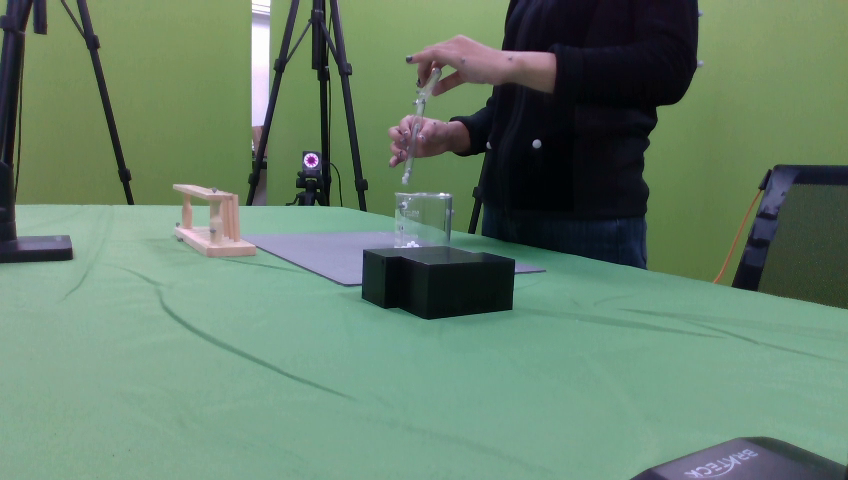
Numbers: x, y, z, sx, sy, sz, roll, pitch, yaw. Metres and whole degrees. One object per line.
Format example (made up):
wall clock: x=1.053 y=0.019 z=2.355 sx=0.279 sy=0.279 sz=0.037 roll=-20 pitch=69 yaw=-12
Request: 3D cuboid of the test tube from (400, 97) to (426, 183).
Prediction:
test tube: x=-0.019 y=-0.164 z=1.007 sx=0.017 sy=0.150 sz=0.017 roll=11 pitch=25 yaw=-5

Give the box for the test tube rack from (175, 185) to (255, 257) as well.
test tube rack: x=-0.324 y=-0.035 z=0.922 sx=0.067 sy=0.085 sz=0.241 roll=-2 pitch=9 yaw=-32

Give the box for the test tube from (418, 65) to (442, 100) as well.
test tube: x=0.008 y=-0.233 z=0.902 sx=0.017 sy=0.017 sz=0.150 roll=1 pitch=-1 yaw=-8

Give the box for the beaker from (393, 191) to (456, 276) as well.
beaker: x=-0.003 y=-0.010 z=0.749 sx=0.074 sy=0.100 sz=0.083 roll=-3 pitch=8 yaw=-40
